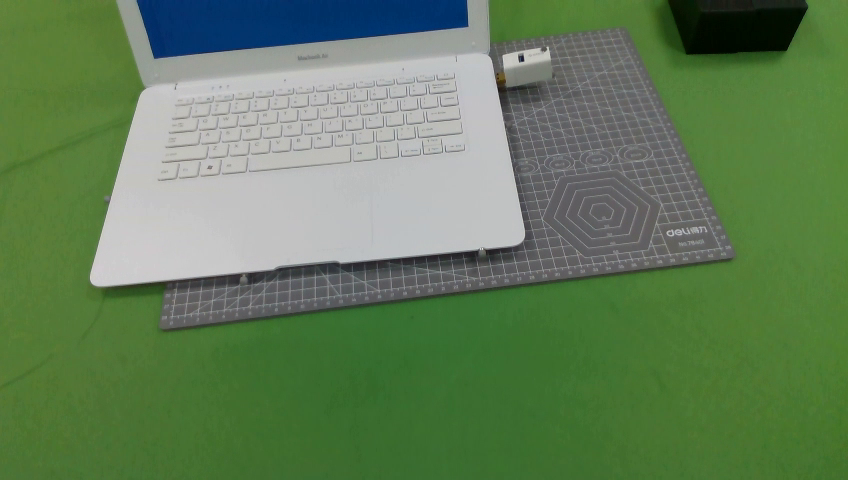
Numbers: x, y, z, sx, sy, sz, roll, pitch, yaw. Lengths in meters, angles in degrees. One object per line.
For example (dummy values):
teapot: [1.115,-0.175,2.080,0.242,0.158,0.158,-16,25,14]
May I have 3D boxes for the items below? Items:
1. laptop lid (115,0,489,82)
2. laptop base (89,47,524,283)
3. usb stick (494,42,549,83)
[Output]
laptop lid: [-0.120,-0.272,0.555,0.357,0.243,0.013,-7,30,1]
laptop base: [-0.102,-0.075,0.548,0.354,0.023,0.233,-6,58,1]
usb stick: [0.089,-0.168,0.577,0.059,0.027,0.021,-9,56,12]
